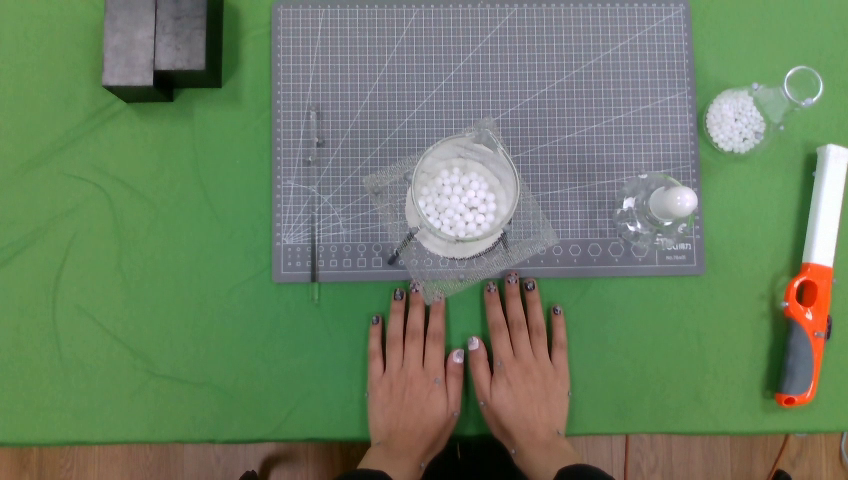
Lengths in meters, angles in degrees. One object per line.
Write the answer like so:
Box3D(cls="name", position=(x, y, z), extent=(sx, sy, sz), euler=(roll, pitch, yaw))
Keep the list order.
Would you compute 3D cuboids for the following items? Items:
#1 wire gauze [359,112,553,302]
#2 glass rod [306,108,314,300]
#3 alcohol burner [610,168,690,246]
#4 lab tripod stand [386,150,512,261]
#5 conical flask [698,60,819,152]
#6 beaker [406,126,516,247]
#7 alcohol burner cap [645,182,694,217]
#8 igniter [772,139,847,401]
Box3D(cls="wire gauze", position=(0.027, -0.028, 0.502), extent=(0.125, 0.011, 0.121), euler=(-26, 89, -5))
Box3D(cls="glass rod", position=(-0.118, -0.037, 0.627), extent=(0.008, 0.008, 0.199), euler=(0, 88, -2))
Box3D(cls="alcohol burner", position=(0.223, -0.035, 0.583), extent=(0.078, 0.119, 0.077), euler=(0, 83, 1))
Box3D(cls="lab tripod stand", position=(0.025, -0.022, 0.567), extent=(0.148, 0.131, 0.148), euler=(0, 87, -1))
Box3D(cls="conical flask", position=(0.330, -0.136, 0.592), extent=(0.075, 0.122, 0.075), euler=(0, 85, -1))
Box3D(cls="beaker", position=(0.025, -0.035, 0.454), extent=(0.074, 0.100, 0.084), euler=(21, 85, 0))
Box3D(cls="alcohol burner cap", position=(0.224, -0.038, 0.547), extent=(0.034, 0.048, 0.034), euler=(0, 90, -2))
Box3D(cls="igniter", position=(0.401, 0.031, 0.629), extent=(0.057, 0.025, 0.276), euler=(13, 85, -10))
